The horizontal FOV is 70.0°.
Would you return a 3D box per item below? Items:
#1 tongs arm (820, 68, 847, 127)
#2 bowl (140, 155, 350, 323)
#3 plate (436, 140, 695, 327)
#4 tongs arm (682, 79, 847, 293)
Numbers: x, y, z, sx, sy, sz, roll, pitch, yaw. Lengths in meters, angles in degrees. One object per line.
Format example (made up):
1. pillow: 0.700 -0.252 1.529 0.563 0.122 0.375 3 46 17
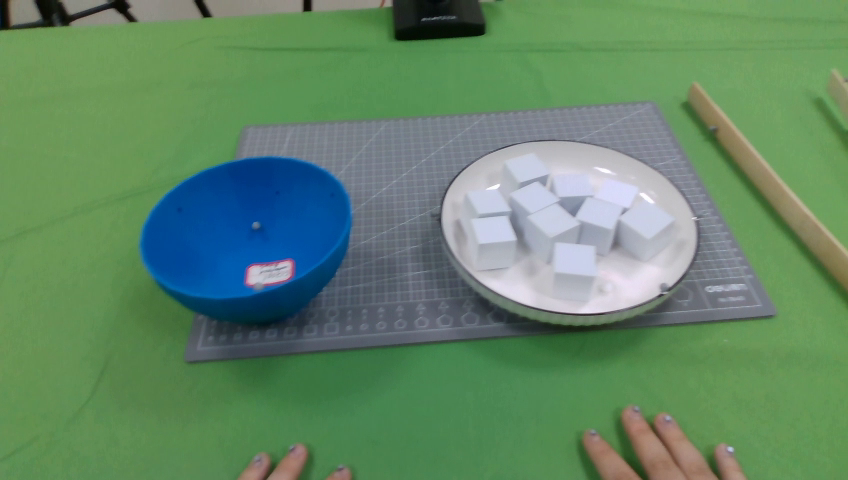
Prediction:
1. tongs arm: 0.409 -0.040 0.533 0.051 0.027 0.381 0 47 3
2. bowl: -0.127 0.011 0.467 0.151 0.077 0.150 -1 45 1
3. plate: 0.113 -0.007 0.506 0.208 0.039 0.205 -1 45 1
4. tongs arm: 0.327 -0.033 0.534 0.028 0.028 0.383 -7 46 -9
